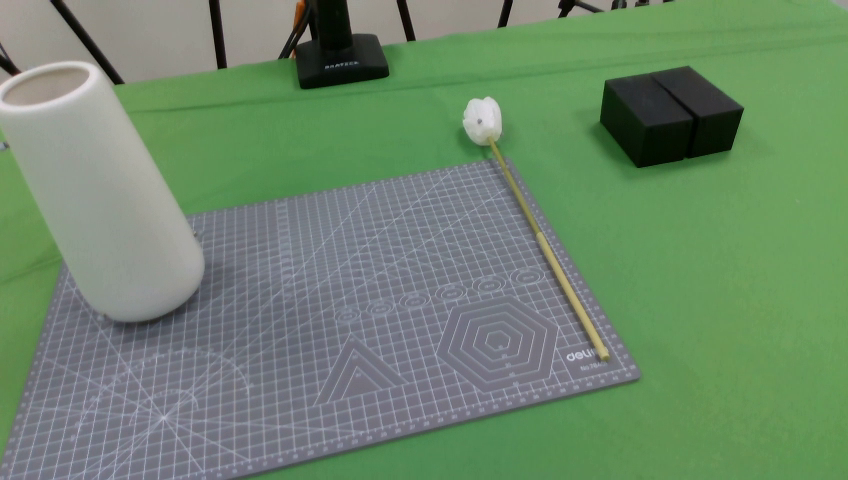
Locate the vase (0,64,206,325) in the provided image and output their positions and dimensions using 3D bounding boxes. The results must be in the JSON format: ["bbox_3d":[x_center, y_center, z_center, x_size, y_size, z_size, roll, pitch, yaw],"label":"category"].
[{"bbox_3d":[-0.240,-0.028,0.465,0.098,0.202,0.097,-2,41,2],"label":"vase"}]

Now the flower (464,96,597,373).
[{"bbox_3d":[0.095,-0.027,0.576,0.044,0.038,0.357,-33,44,18],"label":"flower"}]
